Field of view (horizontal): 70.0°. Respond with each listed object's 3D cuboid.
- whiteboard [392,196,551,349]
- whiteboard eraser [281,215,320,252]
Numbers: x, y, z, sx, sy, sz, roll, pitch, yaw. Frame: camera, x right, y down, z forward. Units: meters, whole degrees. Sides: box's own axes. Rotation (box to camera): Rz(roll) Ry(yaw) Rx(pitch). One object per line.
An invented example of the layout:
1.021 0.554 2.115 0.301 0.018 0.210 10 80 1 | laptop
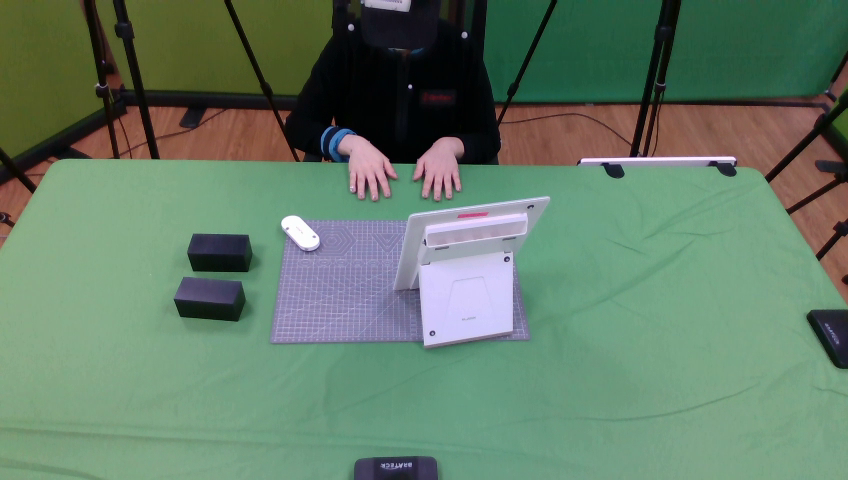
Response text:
0.077 0.071 0.977 0.217 0.306 0.143 -7 67 -11 | whiteboard
-0.243 -0.015 1.191 0.041 0.019 0.100 -30 56 -28 | whiteboard eraser
